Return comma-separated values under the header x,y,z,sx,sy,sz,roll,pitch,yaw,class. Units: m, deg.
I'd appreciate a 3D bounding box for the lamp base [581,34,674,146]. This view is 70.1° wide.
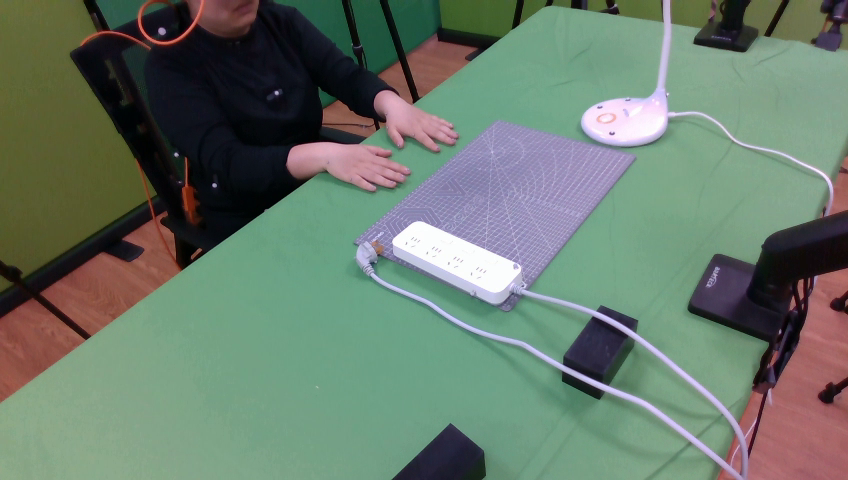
x,y,z,sx,sy,sz,roll,pitch,yaw,class
0.392,-0.291,1.129,0.180,0.181,0.159,-11,41,-8,lamp base

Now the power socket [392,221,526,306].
x,y,z,sx,sy,sz,roll,pitch,yaw,class
0.046,0.031,0.913,0.225,0.033,0.072,25,51,32,power socket

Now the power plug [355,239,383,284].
x,y,z,sx,sy,sz,roll,pitch,yaw,class
-0.078,0.033,0.947,0.053,0.035,0.072,-33,82,-22,power plug
